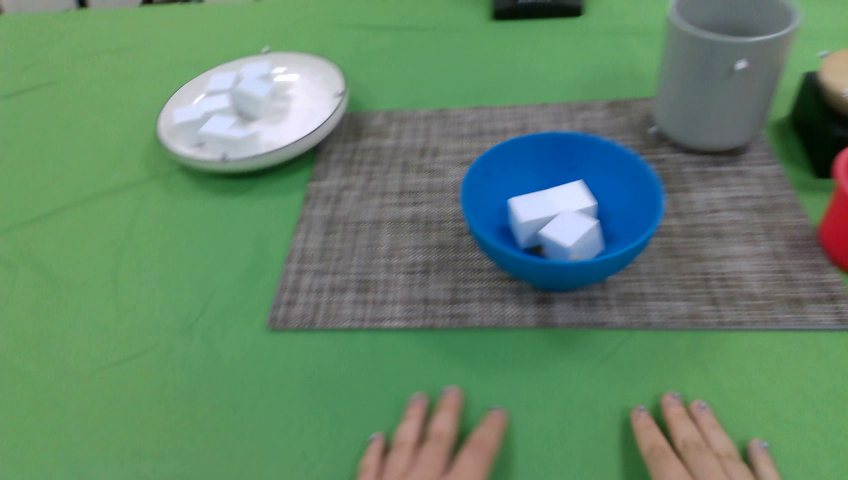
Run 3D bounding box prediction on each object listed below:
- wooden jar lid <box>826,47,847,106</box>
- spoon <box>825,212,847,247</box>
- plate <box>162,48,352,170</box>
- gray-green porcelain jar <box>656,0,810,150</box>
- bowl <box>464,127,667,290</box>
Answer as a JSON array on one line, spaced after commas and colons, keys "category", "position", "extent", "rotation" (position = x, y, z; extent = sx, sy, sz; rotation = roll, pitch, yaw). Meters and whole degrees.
[{"category": "wooden jar lid", "position": [0.414, -0.139, 0.535], "extent": [0.108, 0.021, 0.107], "rotation": [-4, 47, 5]}, {"category": "spoon", "position": [0.390, -0.033, 0.423], "extent": [0.022, 0.193, 0.041], "rotation": [41, 50, -18]}, {"category": "plate", "position": [-0.180, -0.143, 0.670], "extent": [0.209, 0.038, 0.207], "rotation": [-4, 47, 5]}, {"category": "gray-green porcelain jar", "position": [0.276, -0.156, 0.559], "extent": [0.106, 0.128, 0.105], "rotation": [-4, 47, 4]}, {"category": "bowl", "position": [0.108, -0.013, 0.481], "extent": [0.151, 0.077, 0.150], "rotation": [-3, 47, 4]}]
